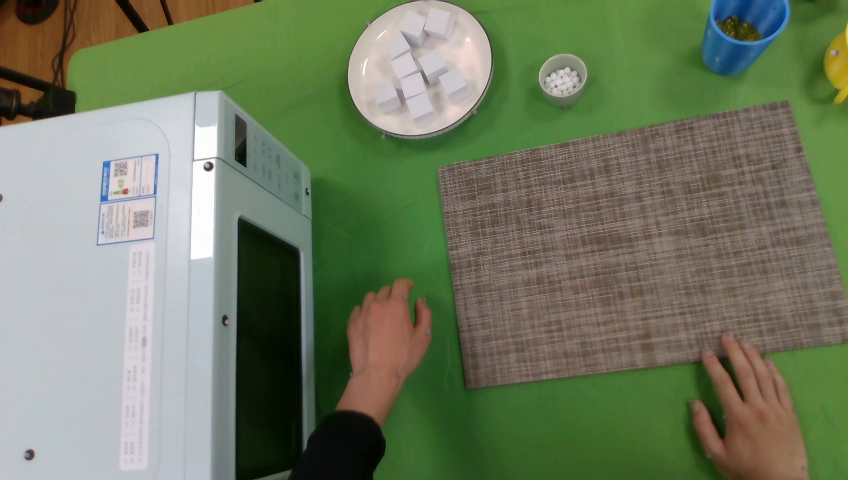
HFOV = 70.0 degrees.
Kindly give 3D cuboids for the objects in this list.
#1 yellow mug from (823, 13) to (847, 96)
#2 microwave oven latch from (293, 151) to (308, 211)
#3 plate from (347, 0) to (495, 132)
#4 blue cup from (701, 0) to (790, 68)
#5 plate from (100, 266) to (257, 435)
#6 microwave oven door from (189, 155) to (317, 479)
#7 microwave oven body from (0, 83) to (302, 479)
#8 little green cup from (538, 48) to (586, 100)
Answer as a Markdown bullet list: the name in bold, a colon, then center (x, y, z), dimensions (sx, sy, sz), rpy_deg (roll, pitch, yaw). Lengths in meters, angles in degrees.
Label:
- **yellow mug**: center (0.528, -0.224, 0.712), dimensions (0.099, 0.064, 0.131), rpy_deg (40, 89, 17)
- **microwave oven latch**: center (-0.176, -0.079, 0.831), dimensions (0.030, 0.030, 0.079), rpy_deg (-4, 78, 11)
- **plate**: center (-0.003, -0.245, 0.849), dimensions (0.207, 0.039, 0.206), rpy_deg (-3, 77, 12)
- **blue cup**: center (0.379, -0.259, 0.735), dimensions (0.092, 0.101, 0.092), rpy_deg (-2, 79, 12)
- **plate**: center (-0.305, 0.137, 0.764), dimensions (0.209, 0.038, 0.208), rpy_deg (-2, 78, 11)
- **microwave oven door**: center (-0.186, 0.111, 0.685), dimensions (0.039, 0.245, 0.354), rpy_deg (-7, 76, 11)
- **microwave oven body**: center (-0.329, 0.088, 0.727), dimensions (0.325, 0.262, 0.439), rpy_deg (-7, 77, 11)
- **little green cup**: center (0.183, -0.218, 0.802), dimensions (0.061, 0.039, 0.061), rpy_deg (-3, 77, 12)
